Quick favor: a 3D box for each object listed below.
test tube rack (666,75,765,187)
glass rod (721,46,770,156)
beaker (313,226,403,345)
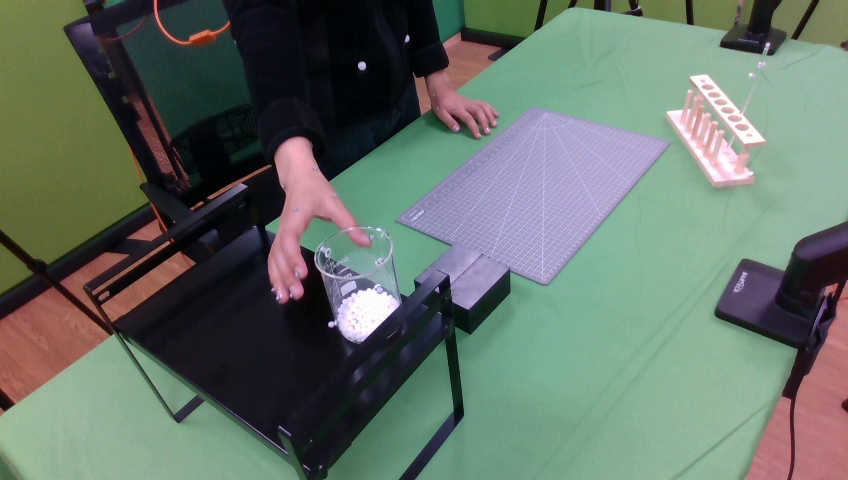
[{"bbox_3d":[0.512,-0.201,1.082,0.067,0.085,0.241,-6,41,2],"label":"test tube rack"},{"bbox_3d":[0.533,-0.226,1.006,0.008,0.200,0.008,1,41,-1],"label":"glass rod"},{"bbox_3d":[-0.059,0.046,0.594,0.073,0.101,0.084,23,49,30],"label":"beaker"}]
